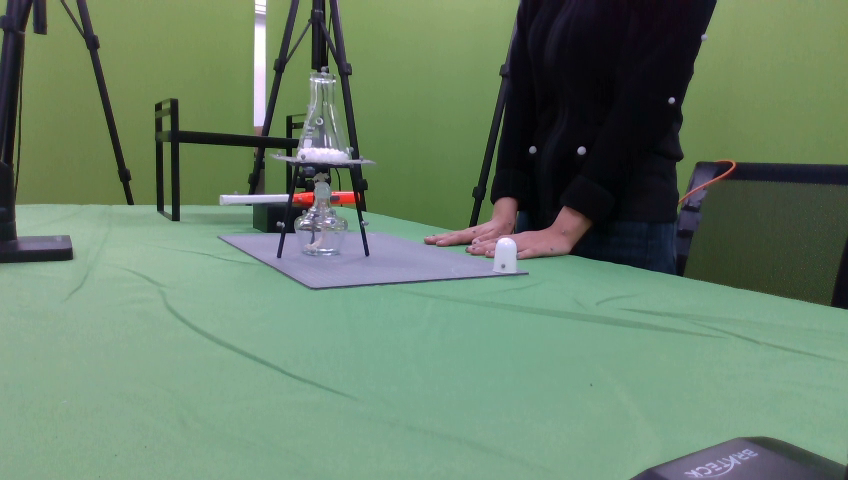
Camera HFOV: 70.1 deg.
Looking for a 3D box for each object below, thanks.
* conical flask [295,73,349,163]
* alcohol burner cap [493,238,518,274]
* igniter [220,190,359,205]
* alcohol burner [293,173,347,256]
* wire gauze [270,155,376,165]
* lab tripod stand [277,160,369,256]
[{"bbox_3d":[-0.143,-0.170,0.851,0.075,0.122,0.075,2,9,0],"label":"conical flask"},{"bbox_3d":[0.107,0.021,0.785,0.034,0.048,0.034,1,7,0],"label":"alcohol burner cap"},{"bbox_3d":[-0.246,-0.081,1.158,0.278,0.025,0.057,-5,7,-33],"label":"igniter"},{"bbox_3d":[-0.148,-0.037,0.868,0.078,0.119,0.078,4,8,0],"label":"alcohol burner"},{"bbox_3d":[-0.146,-0.112,0.860,0.122,0.011,0.124,0,6,-29],"label":"wire gauze"},{"bbox_3d":[-0.149,-0.046,0.861,0.148,0.131,0.148,3,9,0],"label":"lab tripod stand"}]
